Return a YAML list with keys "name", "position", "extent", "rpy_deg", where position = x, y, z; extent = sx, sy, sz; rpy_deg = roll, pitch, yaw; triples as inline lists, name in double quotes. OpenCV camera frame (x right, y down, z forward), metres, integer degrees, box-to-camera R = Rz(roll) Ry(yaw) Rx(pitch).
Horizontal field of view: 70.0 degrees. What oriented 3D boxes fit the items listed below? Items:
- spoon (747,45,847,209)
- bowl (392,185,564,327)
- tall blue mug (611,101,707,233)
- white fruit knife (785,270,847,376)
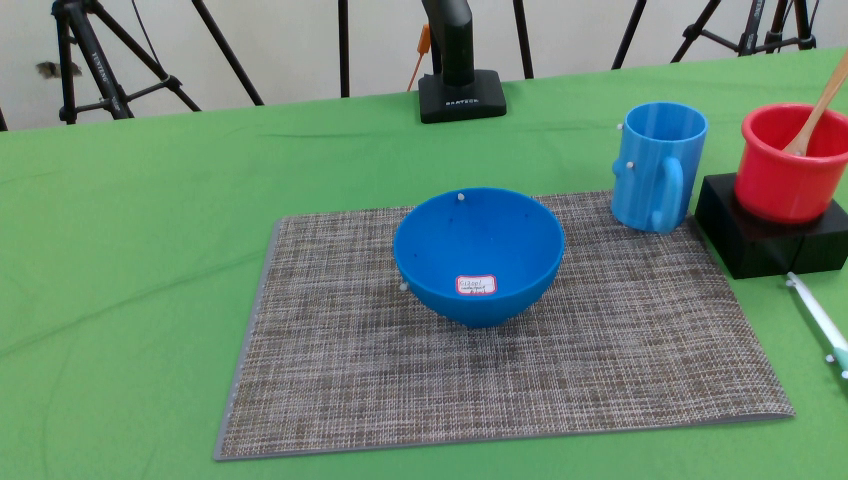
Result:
- name: "spoon"
  position: [0.356, -0.114, 0.549]
  extent: [0.041, 0.022, 0.194]
  rpy_deg: [33, 99, 38]
- name: "bowl"
  position: [0.050, 0.026, 0.553]
  extent: [0.151, 0.077, 0.150]
  rpy_deg: [-4, 42, 4]
- name: "tall blue mug"
  position: [0.241, -0.065, 0.606]
  extent: [0.078, 0.109, 0.106]
  rpy_deg: [-19, 42, -14]
- name: "white fruit knife"
  position: [0.344, 0.095, 0.490]
  extent: [0.027, 0.016, 0.205]
  rpy_deg: [16, 37, -15]
